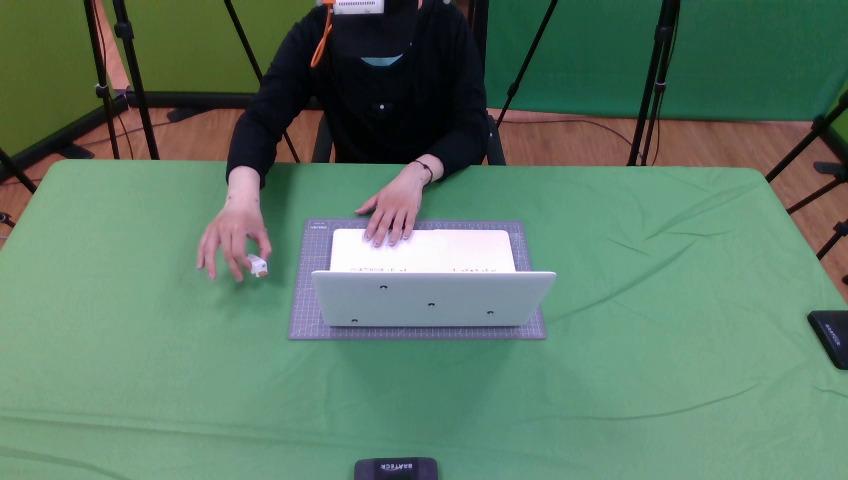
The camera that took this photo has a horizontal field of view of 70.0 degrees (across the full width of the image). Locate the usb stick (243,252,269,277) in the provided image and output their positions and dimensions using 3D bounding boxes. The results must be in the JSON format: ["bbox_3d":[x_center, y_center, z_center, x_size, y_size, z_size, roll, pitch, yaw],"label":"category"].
[{"bbox_3d":[-0.296,0.045,1.073,0.059,0.027,0.021,30,36,32],"label":"usb stick"}]

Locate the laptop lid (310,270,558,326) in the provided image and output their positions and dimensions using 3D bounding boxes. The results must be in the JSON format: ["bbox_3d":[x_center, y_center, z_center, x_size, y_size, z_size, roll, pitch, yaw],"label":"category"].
[{"bbox_3d":[0.011,0.095,0.948,0.357,0.242,0.013,1,64,-4],"label":"laptop lid"}]

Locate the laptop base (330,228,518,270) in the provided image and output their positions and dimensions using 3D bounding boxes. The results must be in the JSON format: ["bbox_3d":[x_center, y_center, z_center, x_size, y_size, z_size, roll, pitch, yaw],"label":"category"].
[{"bbox_3d":[0.001,0.063,1.134,0.354,0.023,0.234,0,43,-3],"label":"laptop base"}]
